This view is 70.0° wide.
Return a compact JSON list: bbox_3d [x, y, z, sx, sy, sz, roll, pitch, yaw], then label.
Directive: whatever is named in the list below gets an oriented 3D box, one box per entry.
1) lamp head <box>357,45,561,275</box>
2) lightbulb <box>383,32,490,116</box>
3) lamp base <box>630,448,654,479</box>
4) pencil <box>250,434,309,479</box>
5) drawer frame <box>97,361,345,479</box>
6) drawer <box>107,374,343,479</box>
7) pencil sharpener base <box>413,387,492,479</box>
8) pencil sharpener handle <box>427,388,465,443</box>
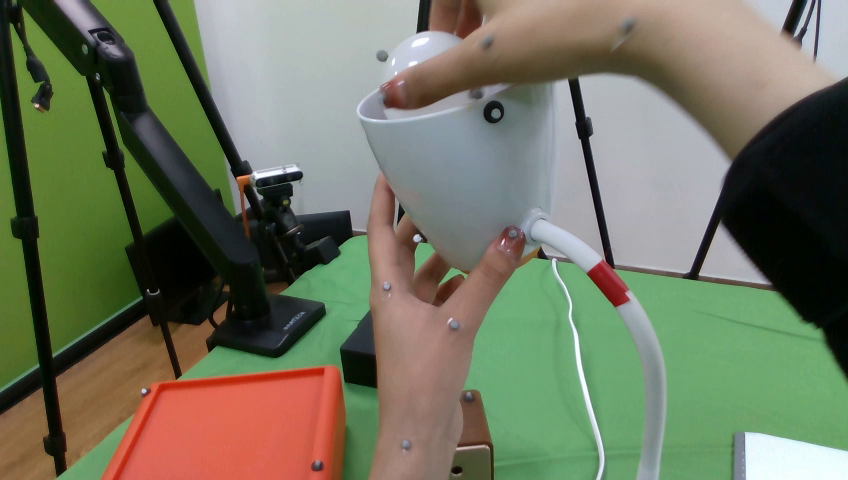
[{"bbox_3d":[0.033,-0.040,0.356,0.112,0.124,0.111,-18,22,8],"label":"lamp head"},{"bbox_3d":[0.015,-0.065,0.349,0.059,0.109,0.059,-17,34,12],"label":"lightbulb"},{"bbox_3d":[0.140,0.232,0.362,0.161,0.181,0.177,-7,23,-6],"label":"lamp base"},{"bbox_3d":[-0.176,0.234,0.525,0.012,0.012,0.194,22,47,42],"label":"pencil"},{"bbox_3d":[-0.180,0.214,0.553,0.202,0.083,0.211,-6,25,-3],"label":"drawer frame"},{"bbox_3d":[-0.179,0.216,0.551,0.194,0.074,0.210,-5,25,-2],"label":"drawer"},{"bbox_3d":[0.025,0.194,0.540,0.061,0.108,0.076,-5,26,-2],"label":"pencil sharpener base"},{"bbox_3d":[0.019,0.162,0.580,0.036,0.068,0.030,0,26,-5],"label":"pencil sharpener handle"}]
